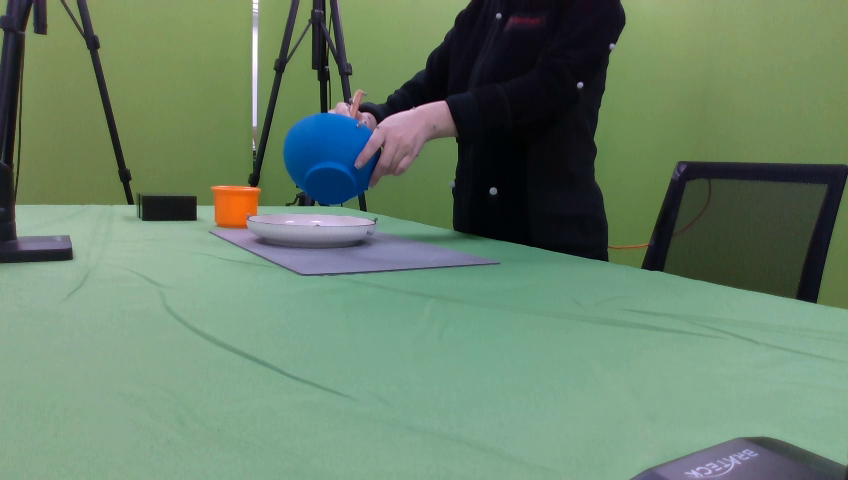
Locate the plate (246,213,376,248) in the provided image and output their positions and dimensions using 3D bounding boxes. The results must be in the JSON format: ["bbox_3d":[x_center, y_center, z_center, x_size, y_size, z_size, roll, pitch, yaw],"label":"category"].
[{"bbox_3d":[-0.185,-0.017,0.994,0.209,0.038,0.209,3,8,0],"label":"plate"}]

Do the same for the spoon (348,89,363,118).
[{"bbox_3d":[-0.125,-0.168,0.958,0.041,0.193,0.021,11,-34,-1],"label":"spoon"}]

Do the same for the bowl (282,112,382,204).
[{"bbox_3d":[-0.139,-0.106,0.898,0.151,0.151,0.076,2,47,-4],"label":"bowl"}]
